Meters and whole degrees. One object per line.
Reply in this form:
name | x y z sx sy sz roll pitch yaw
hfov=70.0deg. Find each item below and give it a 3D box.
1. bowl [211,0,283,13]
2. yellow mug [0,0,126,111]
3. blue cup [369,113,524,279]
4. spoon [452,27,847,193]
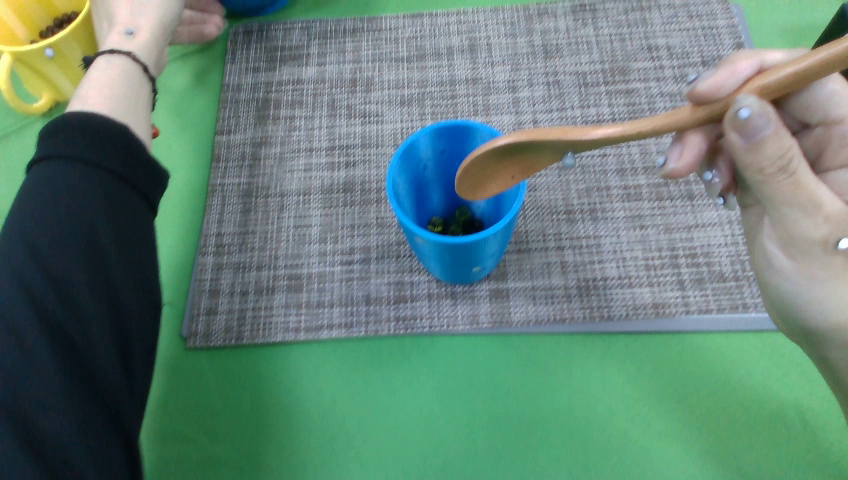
bowl | -0.164 -0.262 0.546 0.151 0.077 0.150 -1 64 3
yellow mug | -0.327 -0.170 0.519 0.100 0.064 0.130 8 67 7
blue cup | 0.021 -0.019 0.403 0.092 0.101 0.092 -2 65 5
spoon | 0.093 -0.051 0.243 0.193 0.042 0.021 -13 70 36
